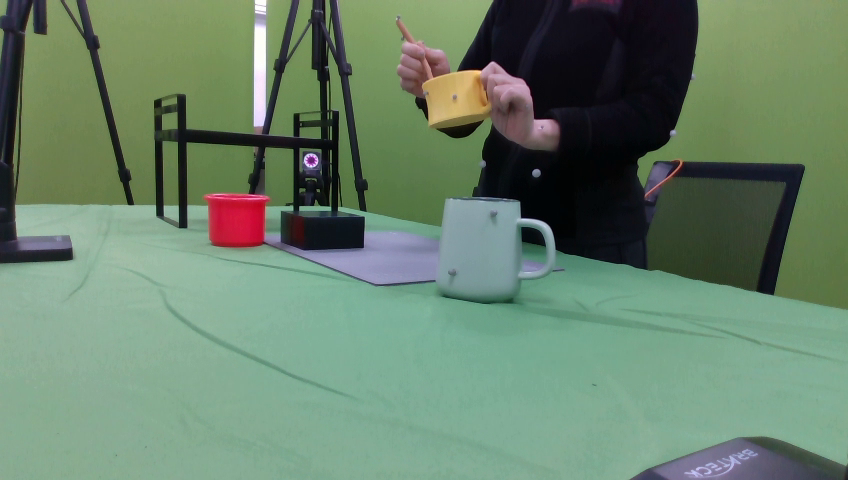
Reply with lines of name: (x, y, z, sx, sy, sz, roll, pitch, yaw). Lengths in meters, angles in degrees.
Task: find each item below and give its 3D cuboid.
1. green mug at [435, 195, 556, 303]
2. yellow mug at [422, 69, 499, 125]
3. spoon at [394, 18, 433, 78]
green mug: (0.074, 0.009, 0.624, 0.125, 0.105, 0.093, 5, 7, 23)
yellow mug: (0.061, -0.219, 0.915, 0.100, 0.064, 0.130, -14, 5, -44)
spoon: (0.000, -0.271, 0.940, 0.021, 0.193, 0.041, -24, -16, -5)
